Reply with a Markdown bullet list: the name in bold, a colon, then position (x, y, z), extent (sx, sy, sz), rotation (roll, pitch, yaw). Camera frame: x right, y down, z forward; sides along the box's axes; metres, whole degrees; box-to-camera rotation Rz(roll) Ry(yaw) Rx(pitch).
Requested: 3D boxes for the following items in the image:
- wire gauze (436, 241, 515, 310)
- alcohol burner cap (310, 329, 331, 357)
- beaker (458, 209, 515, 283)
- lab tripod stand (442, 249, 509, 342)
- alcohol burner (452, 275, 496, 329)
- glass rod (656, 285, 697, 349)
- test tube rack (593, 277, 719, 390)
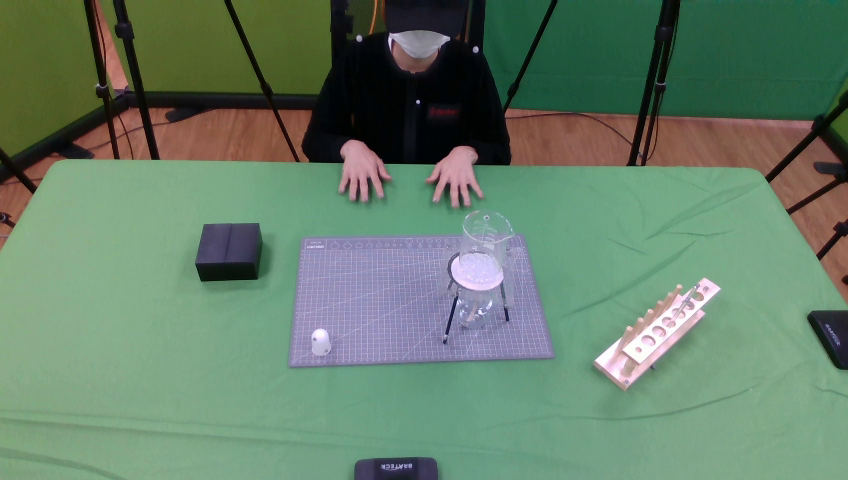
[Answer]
- **wire gauze**: position (0.086, 0.052, 0.982), extent (0.125, 0.011, 0.121), rotation (11, 47, 2)
- **alcohol burner cap**: position (-0.173, 0.168, 1.005), extent (0.034, 0.048, 0.033), rotation (2, 46, -2)
- **beaker**: position (0.094, 0.013, 0.952), extent (0.084, 0.101, 0.073), rotation (12, 46, 7)
- **lab tripod stand**: position (0.081, 0.091, 1.036), extent (0.148, 0.132, 0.147), rotation (3, 44, -3)
- **alcohol burner**: position (0.087, 0.099, 1.042), extent (0.078, 0.119, 0.077), rotation (3, 48, -3)
- **glass rod**: position (0.401, 0.128, 0.971), extent (0.008, 0.201, 0.008), rotation (0, 53, 1)
- **test tube rack**: position (0.401, 0.148, 1.043), extent (0.242, 0.085, 0.066), rotation (-30, 55, -29)
